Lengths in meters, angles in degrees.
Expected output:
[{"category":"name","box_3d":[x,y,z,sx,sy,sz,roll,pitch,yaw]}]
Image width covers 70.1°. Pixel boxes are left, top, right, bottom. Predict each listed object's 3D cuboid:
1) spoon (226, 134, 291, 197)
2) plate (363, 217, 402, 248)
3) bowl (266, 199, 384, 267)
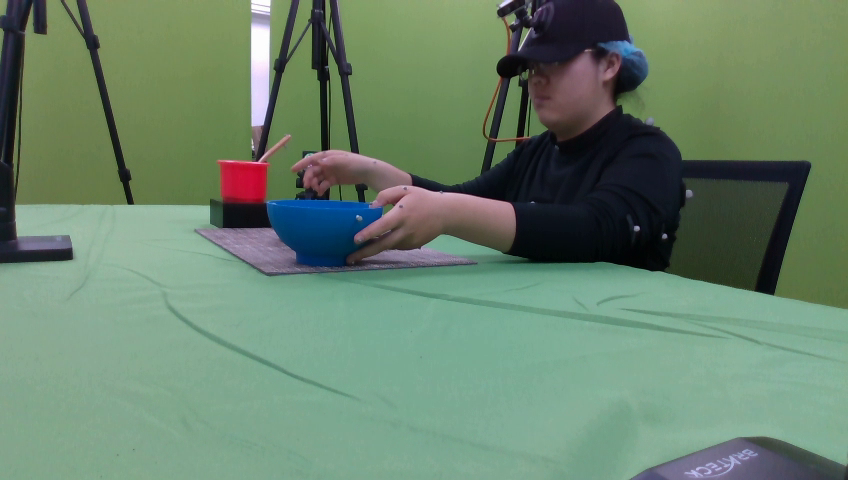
[{"category":"spoon","box_3d":[-0.319,-0.149,1.187,0.041,0.022,0.194,9,53,36]},{"category":"plate","box_3d":[-0.140,-0.015,0.993,0.208,0.039,0.207,3,8,0]},{"category":"bowl","box_3d":[-0.129,-0.009,0.789,0.151,0.077,0.151,3,7,0]}]
